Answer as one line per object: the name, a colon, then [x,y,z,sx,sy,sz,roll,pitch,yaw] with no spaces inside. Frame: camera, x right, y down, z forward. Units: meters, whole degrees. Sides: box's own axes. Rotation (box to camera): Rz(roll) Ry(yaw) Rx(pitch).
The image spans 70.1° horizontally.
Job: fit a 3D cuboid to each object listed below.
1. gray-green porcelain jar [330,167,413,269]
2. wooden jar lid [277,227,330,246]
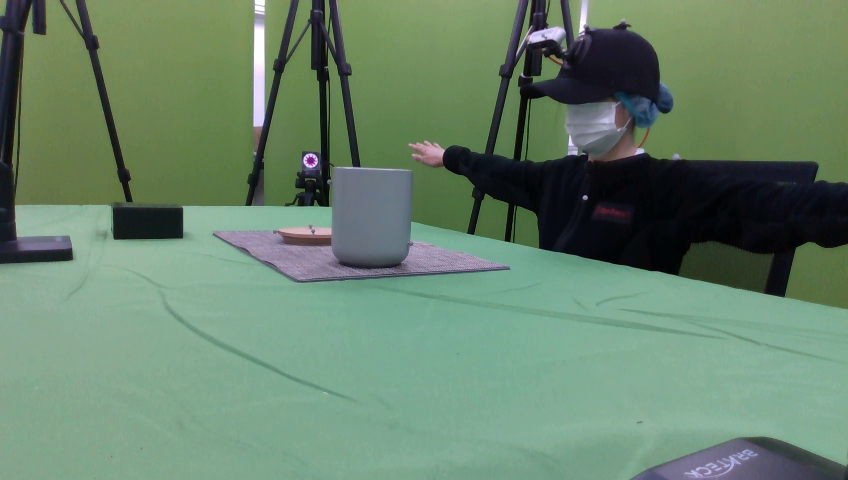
gray-green porcelain jar: [-0.069,-0.030,0.791,0.106,0.126,0.106,3,7,0]
wooden jar lid: [-0.183,-0.006,0.979,0.108,0.020,0.108,3,8,0]
